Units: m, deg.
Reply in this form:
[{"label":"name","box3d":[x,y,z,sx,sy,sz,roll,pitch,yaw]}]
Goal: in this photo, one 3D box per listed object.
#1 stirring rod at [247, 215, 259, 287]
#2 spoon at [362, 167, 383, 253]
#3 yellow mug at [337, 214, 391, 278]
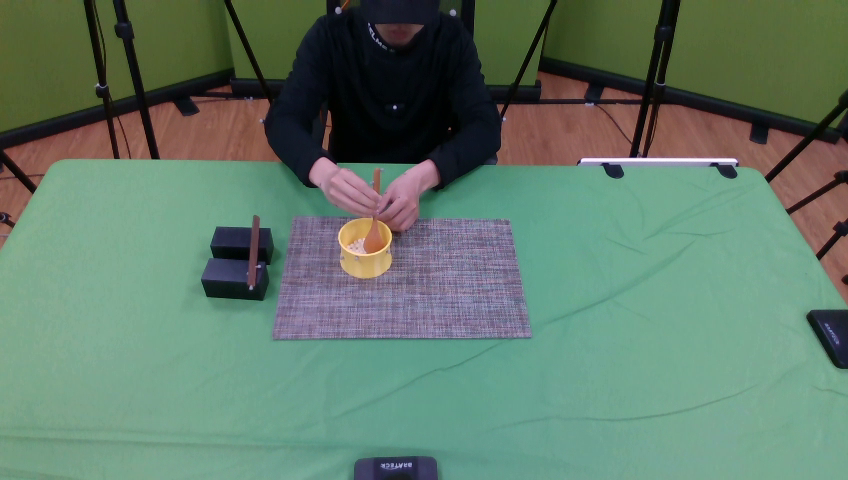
[{"label":"stirring rod","box3d":[-0.309,0.016,1.097,0.014,0.006,0.175,24,36,-31]},{"label":"spoon","box3d":[-0.092,-0.049,1.105,0.041,0.194,0.021,10,32,7]},{"label":"yellow mug","box3d":[-0.110,0.003,1.152,0.100,0.064,0.130,7,45,2]}]
